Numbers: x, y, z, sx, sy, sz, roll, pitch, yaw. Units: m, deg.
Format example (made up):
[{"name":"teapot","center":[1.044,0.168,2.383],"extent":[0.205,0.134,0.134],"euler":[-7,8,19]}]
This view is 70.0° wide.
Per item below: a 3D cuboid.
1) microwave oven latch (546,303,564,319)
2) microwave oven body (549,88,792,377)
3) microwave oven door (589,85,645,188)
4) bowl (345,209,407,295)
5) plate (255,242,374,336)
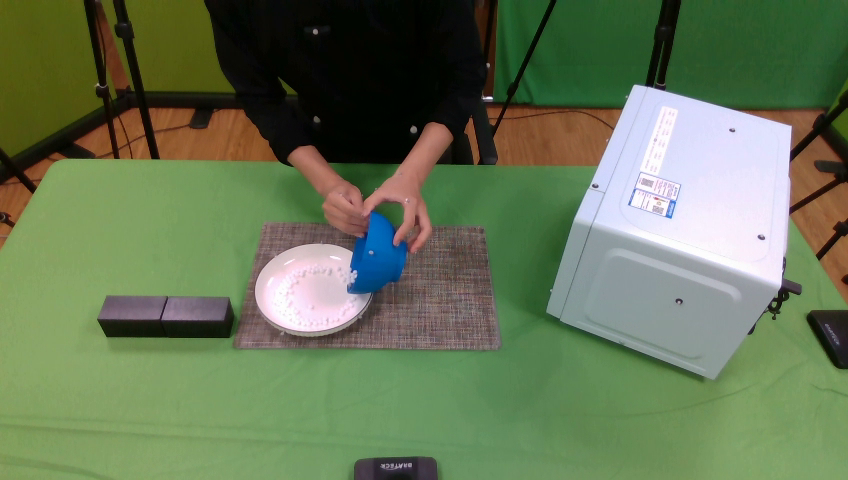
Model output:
[{"name":"microwave oven latch","center":[0.242,0.102,1.081],"extent":[0.030,0.029,0.079],"euler":[21,48,17]},{"name":"microwave oven body","center":[0.456,-0.028,1.088],"extent":[0.325,0.261,0.440],"euler":[20,47,16]},{"name":"microwave oven door","center":[0.342,-0.107,1.148],"extent":[0.039,0.245,0.354],"euler":[20,48,15]},{"name":"bowl","center":[-0.078,0.028,1.040],"extent":[0.077,0.152,0.150],"euler":[15,44,-13]},{"name":"plate","center":[-0.192,0.090,1.080],"extent":[0.208,0.039,0.206],"euler":[2,46,-2]}]
